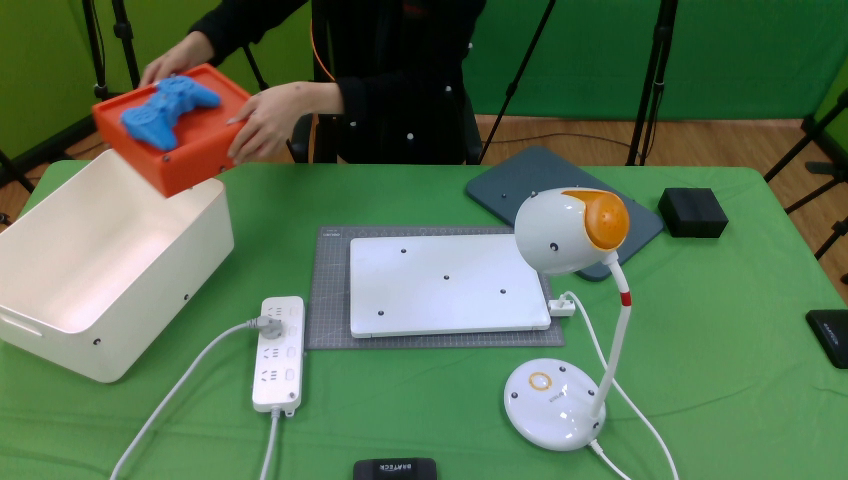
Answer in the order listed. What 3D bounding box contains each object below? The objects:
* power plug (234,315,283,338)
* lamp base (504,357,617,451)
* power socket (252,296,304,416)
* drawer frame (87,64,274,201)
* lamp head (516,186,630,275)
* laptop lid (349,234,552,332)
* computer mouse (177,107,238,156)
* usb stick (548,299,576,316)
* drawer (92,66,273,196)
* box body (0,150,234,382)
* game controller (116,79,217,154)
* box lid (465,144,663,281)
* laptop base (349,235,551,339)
[{"bbox_3d":[-0.270,0.144,0.999,0.072,0.053,0.035,5,46,2],"label":"power plug"},{"bbox_3d":[0.220,0.211,0.903,0.160,0.181,0.178,-32,59,-30],"label":"lamp base"},{"bbox_3d":[-0.238,0.181,0.997,0.072,0.033,0.225,-3,47,-5],"label":"power socket"},{"bbox_3d":[-0.395,-0.184,1.003,0.201,0.083,0.213,37,53,23],"label":"drawer frame"},{"bbox_3d":[0.188,-0.013,0.728,0.112,0.112,0.122,-25,9,-25],"label":"lamp head"},{"bbox_3d":[0.040,0.071,1.117,0.357,0.013,0.240,0,44,-5],"label":"laptop lid"},{"bbox_3d":[-0.370,-0.189,1.032,0.063,0.041,0.116,-26,58,-33],"label":"computer mouse"},{"bbox_3d":[0.239,0.121,1.083,0.059,0.027,0.021,-1,50,-2],"label":"usb stick"},{"bbox_3d":[-0.395,-0.185,1.006,0.193,0.073,0.211,37,53,23],"label":"drawer"},{"bbox_3d":[-0.525,0.033,1.027,0.254,0.161,0.362,18,47,13],"label":"box body"},{"bbox_3d":[-0.405,-0.202,0.948,0.097,0.052,0.154,14,46,10],"label":"game controller"},{"bbox_3d":[0.297,-0.072,1.298,0.263,0.015,0.369,-33,56,-31],"label":"box lid"},{"bbox_3d":[0.039,0.081,1.124,0.355,0.023,0.234,-2,43,-6],"label":"laptop base"}]
